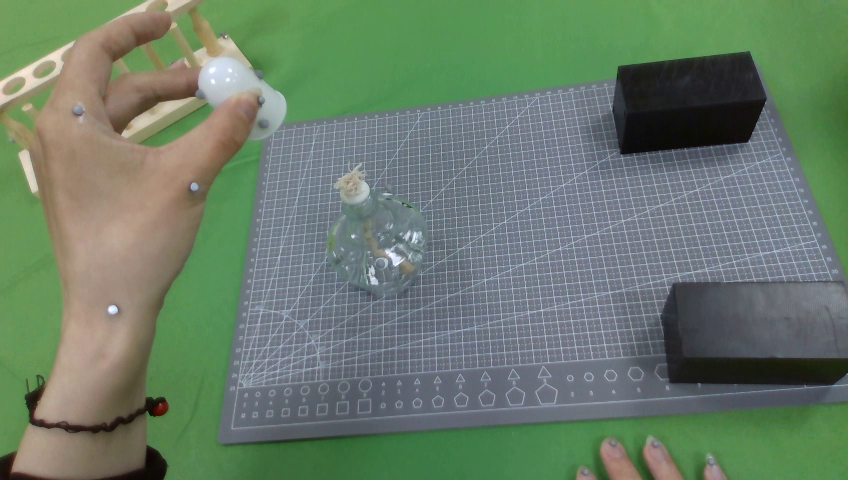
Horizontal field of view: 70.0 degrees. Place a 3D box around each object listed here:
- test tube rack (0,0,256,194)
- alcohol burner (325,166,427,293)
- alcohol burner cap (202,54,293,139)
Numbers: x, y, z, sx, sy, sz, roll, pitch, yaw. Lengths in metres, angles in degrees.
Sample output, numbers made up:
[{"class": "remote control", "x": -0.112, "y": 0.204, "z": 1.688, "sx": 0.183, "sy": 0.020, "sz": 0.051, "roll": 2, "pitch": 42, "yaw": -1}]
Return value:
[{"class": "test tube rack", "x": -0.296, "y": -0.152, "z": 0.589, "sx": 0.242, "sy": 0.086, "sz": 0.066, "roll": -33, "pitch": 60, "yaw": -9}, {"class": "alcohol burner", "x": -0.039, "y": -0.011, "z": 0.438, "sx": 0.078, "sy": 0.120, "sz": 0.077, "roll": -5, "pitch": 57, "yaw": 8}, {"class": "alcohol burner cap", "x": -0.097, "y": -0.079, "z": 0.326, "sx": 0.034, "sy": 0.048, "sz": 0.033, "roll": -9, "pitch": 66, "yaw": 22}]
